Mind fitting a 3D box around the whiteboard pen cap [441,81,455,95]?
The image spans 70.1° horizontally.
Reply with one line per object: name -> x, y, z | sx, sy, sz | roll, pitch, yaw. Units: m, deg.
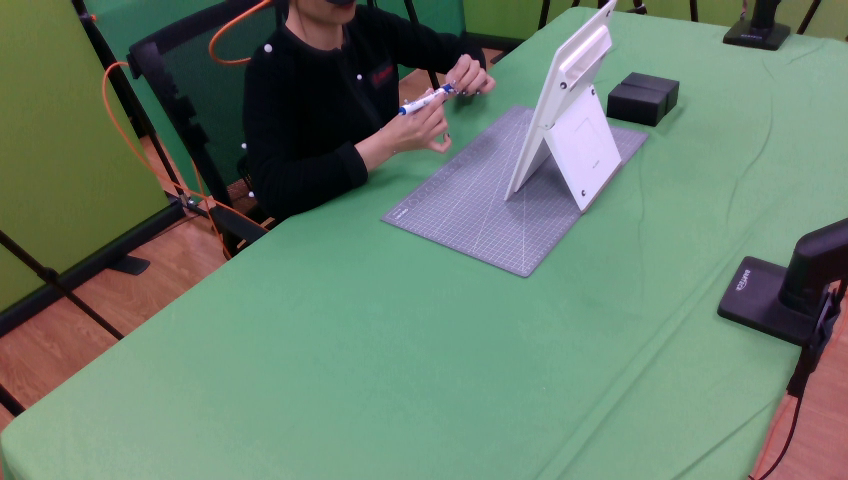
whiteboard pen cap -> 0.041, -0.282, 1.126 | 0.018, 0.018, 0.033 | 22, 47, 32

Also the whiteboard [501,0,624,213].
whiteboard -> 0.271, -0.189, 0.977 | 0.143, 0.306, 0.218 | 34, 53, 16

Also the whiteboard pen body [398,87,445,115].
whiteboard pen body -> 0.003, -0.254, 1.088 | 0.017, 0.017, 0.141 | 23, 43, 33
